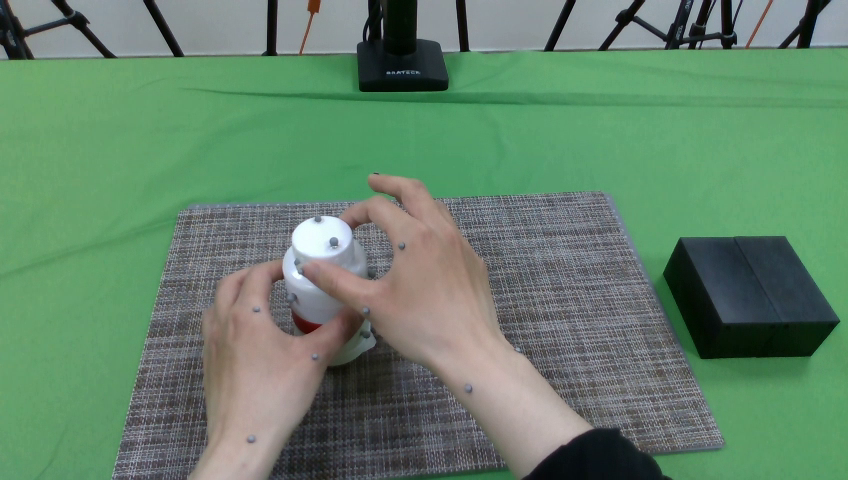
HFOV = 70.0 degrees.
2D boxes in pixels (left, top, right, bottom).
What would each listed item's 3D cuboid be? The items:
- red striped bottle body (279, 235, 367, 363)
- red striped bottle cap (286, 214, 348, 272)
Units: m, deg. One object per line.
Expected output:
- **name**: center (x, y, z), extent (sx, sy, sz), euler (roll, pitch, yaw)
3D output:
- **red striped bottle body**: center (-0.077, 0.038, 0.473), extent (0.063, 0.121, 0.062), euler (2, 45, -1)
- **red striped bottle cap**: center (-0.076, 0.001, 0.434), extent (0.044, 0.018, 0.044), euler (7, 44, -6)
